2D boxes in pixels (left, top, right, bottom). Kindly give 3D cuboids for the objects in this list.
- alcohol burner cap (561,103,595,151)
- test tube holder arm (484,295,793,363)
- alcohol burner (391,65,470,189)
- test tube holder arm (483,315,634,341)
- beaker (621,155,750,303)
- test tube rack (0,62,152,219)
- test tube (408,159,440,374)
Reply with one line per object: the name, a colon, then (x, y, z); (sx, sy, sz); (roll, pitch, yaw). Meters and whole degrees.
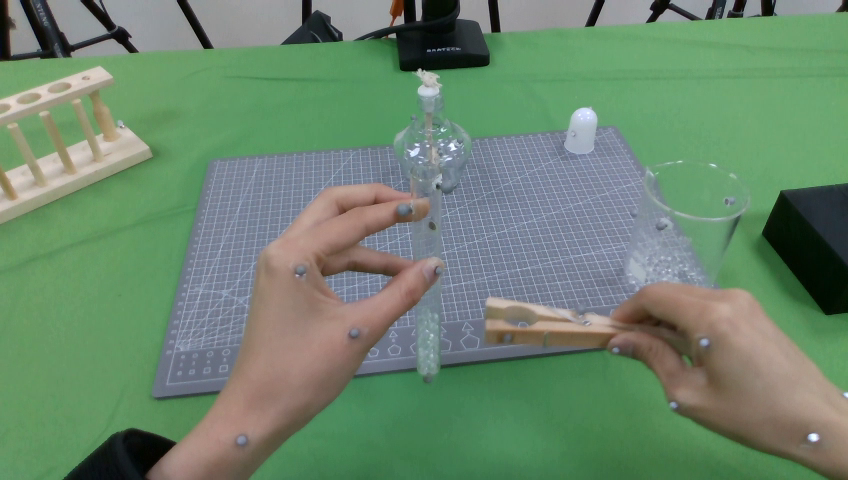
alcohol burner cap: (0.165, -0.122, 0.644); (0.034, 0.048, 0.033); (-1, 43, 1)
test tube holder arm: (0.125, 0.053, 0.362); (0.178, 0.015, 0.013); (7, 47, 6)
alcohol burner: (0.005, -0.110, 0.582); (0.078, 0.120, 0.077); (-2, 42, 2)
test tube holder arm: (0.079, 0.053, 0.361); (0.088, 0.015, 0.010); (0, 46, -1)
beaker: (0.197, -0.007, 0.479); (0.074, 0.101, 0.083); (-27, 48, -24)
test tube rack: (-0.407, -0.083, 0.588); (0.242, 0.086, 0.066); (-34, 52, -29)
test tube: (0.001, 0.023, 0.332); (0.017, 0.151, 0.017); (0, 40, 1)
